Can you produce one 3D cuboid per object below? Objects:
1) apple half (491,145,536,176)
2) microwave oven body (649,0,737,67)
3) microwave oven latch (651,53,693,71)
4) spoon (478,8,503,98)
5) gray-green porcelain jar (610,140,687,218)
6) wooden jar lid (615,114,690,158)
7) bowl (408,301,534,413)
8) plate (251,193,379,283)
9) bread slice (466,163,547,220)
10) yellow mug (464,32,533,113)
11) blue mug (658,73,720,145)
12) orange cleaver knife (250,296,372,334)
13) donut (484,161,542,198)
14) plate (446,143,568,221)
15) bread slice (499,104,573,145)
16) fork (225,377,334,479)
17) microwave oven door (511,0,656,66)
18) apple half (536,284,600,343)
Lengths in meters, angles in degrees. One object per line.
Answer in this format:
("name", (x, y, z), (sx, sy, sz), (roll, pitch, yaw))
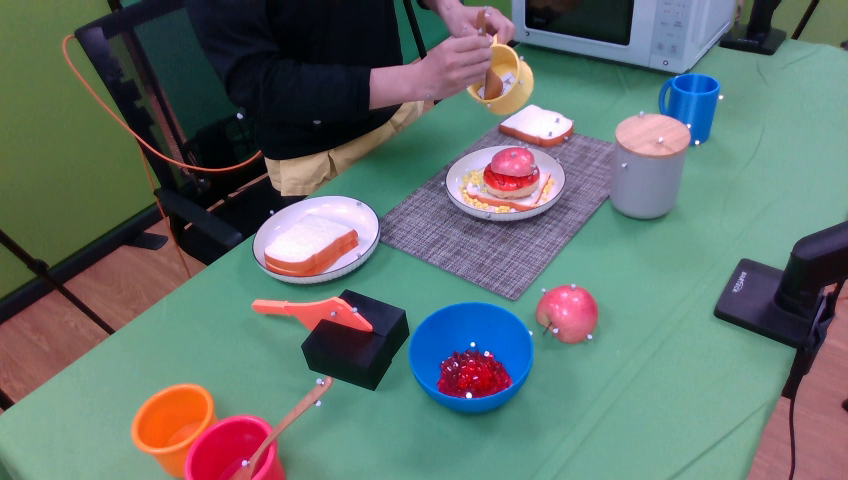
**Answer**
("apple half", (0.147, -0.138, 0.994), (0.081, 0.033, 0.081), (0, 37, 1))
("microwave oven body", (0.475, -0.602, 1.411), (0.438, 0.261, 0.327), (23, 50, 32))
("microwave oven latch", (0.532, -0.386, 1.301), (0.078, 0.029, 0.030), (27, 52, 34))
("spoon", (0.099, -0.287, 0.951), (0.041, 0.195, 0.021), (-34, 58, -6))
("gray-green porcelain jar", (0.354, -0.106, 0.964), (0.106, 0.127, 0.105), (-4, 41, 4))
("wooden jar lid", (0.347, -0.155, 0.923), (0.108, 0.021, 0.108), (-3, 44, 4))
("bowl", (0.060, 0.156, 0.739), (0.151, 0.077, 0.150), (-4, 40, 4))
("plate", (-0.174, -0.001, 0.984), (0.209, 0.038, 0.208), (-4, 41, 4))
("bread slice", (0.142, -0.088, 1.051), (0.134, 0.018, 0.107), (15, 49, 12))
("yellow mug", (0.127, -0.290, 1.028), (0.099, 0.064, 0.130), (-3, 80, 30))
("blue mug", (0.483, -0.250, 1.127), (0.082, 0.106, 0.115), (-26, 44, -19))
("orange cleaver knife", (-0.159, 0.103, 0.828), (0.210, 0.078, 0.012), (-4, 43, 39))
("donut", (0.149, -0.109, 1.016), (0.099, 0.048, 0.098), (-4, 40, 4))
("plate", (0.142, -0.097, 1.045), (0.207, 0.039, 0.206), (-4, 40, 4))
("bread slice", (0.231, -0.231, 1.205), (0.105, 0.019, 0.130), (-37, 47, -28))
("fork", (-0.163, 0.216, 0.646), (0.207, 0.019, 0.028), (-49, 42, 16))
("microwave oven door", (0.350, -0.539, 1.349), (0.353, 0.245, 0.039), (24, 50, 31))
("apple half", (0.196, 0.091, 0.815), (0.075, 0.053, 0.080), (-22, 42, -20))
